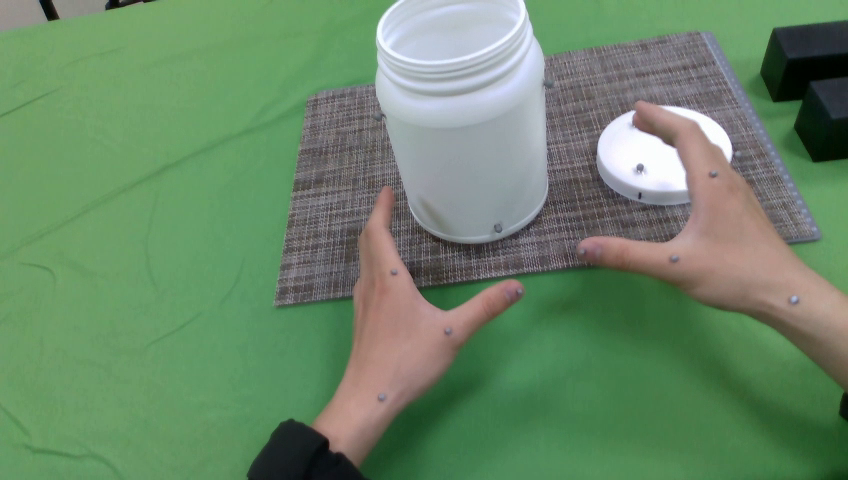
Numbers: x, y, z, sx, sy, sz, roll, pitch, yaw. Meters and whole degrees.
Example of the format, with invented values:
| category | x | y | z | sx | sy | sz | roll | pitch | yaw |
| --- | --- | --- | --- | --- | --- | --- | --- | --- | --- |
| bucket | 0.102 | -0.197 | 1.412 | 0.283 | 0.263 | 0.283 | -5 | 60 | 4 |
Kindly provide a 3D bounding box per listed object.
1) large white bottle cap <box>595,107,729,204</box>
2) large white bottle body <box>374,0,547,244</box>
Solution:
| category | x | y | z | sx | sy | sz | roll | pitch | yaw |
| --- | --- | --- | --- | --- | --- | --- | --- | --- | --- |
| large white bottle cap | 0.215 | -0.080 | 0.552 | 0.115 | 0.018 | 0.113 | -6 | 50 | 8 |
| large white bottle body | 0.033 | -0.100 | 0.500 | 0.130 | 0.186 | 0.129 | -6 | 50 | 8 |
